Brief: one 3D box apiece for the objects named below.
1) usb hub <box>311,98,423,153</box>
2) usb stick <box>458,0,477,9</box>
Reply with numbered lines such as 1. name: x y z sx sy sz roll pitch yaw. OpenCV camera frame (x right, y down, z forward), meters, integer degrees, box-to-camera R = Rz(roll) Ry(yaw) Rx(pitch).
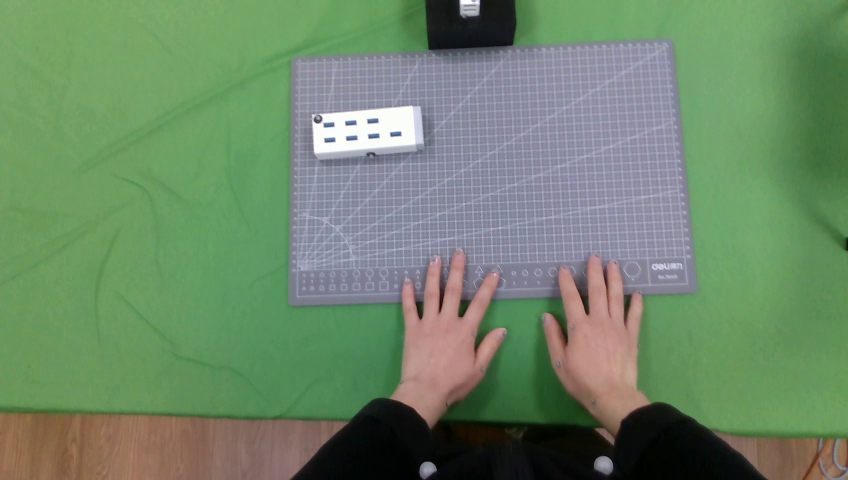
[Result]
1. usb hub: -0.065 -0.131 0.694 0.125 0.025 0.049 -5 80 1
2. usb stick: 0.047 -0.288 0.666 0.021 0.027 0.059 -2 78 4
